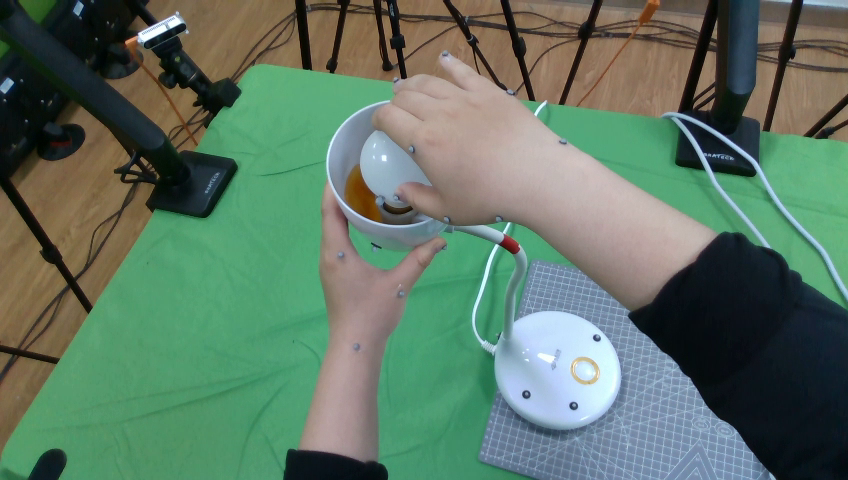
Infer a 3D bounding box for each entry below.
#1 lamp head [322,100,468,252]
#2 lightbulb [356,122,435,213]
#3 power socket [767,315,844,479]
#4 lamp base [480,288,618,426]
[{"bbox_3d":[-0.018,-0.038,0.509,0.112,0.124,0.111,-2,66,4],"label":"lamp head"},{"bbox_3d":[-0.021,-0.050,0.479,0.059,0.108,0.059,0,70,-1],"label":"lightbulb"},{"bbox_3d":[0.454,0.191,0.727,0.072,0.033,0.225,11,59,13],"label":"power socket"},{"bbox_3d":[0.147,0.119,0.724,0.178,0.182,0.159,6,58,15],"label":"lamp base"}]
